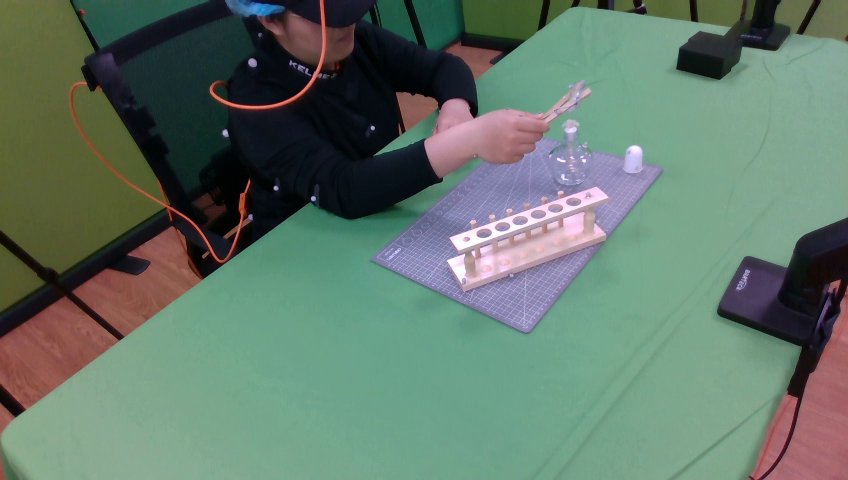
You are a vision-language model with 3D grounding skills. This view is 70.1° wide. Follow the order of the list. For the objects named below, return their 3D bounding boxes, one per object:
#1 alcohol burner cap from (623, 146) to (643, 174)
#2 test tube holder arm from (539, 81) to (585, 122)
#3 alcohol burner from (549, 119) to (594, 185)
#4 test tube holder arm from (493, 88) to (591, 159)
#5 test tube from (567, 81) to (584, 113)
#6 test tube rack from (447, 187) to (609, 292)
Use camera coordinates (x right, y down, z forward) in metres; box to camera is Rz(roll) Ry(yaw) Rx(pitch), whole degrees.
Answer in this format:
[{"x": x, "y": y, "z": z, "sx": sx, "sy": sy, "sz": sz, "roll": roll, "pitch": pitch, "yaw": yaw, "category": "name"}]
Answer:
[{"x": 0.369, "y": -0.142, "z": 1.062, "sx": 0.034, "sy": 0.048, "sz": 0.033, "roll": -7, "pitch": 41, "yaw": 6, "category": "alcohol burner cap"}, {"x": 0.215, "y": -0.213, "z": 0.944, "sx": 0.087, "sy": 0.015, "sz": 0.010, "roll": -43, "pitch": 80, "yaw": 14, "category": "test tube holder arm"}, {"x": 0.254, "y": -0.155, "z": 1.043, "sx": 0.078, "sy": 0.120, "sz": 0.077, "roll": -7, "pitch": 40, "yaw": 6, "category": "alcohol burner"}, {"x": 0.184, "y": -0.182, "z": 0.955, "sx": 0.178, "sy": 0.015, "sz": 0.013, "roll": -36, "pitch": 81, "yaw": 15, "category": "test tube holder arm"}, {"x": 0.238, "y": -0.224, "z": 0.956, "sx": 0.017, "sy": 0.017, "sz": 0.150, "roll": -2, "pitch": -2, "yaw": 9, "category": "test tube"}, {"x": 0.155, "y": -0.011, "z": 0.913, "sx": 0.243, "sy": 0.085, "sz": 0.066, "roll": -19, "pitch": 41, "yaw": -11, "category": "test tube rack"}]
